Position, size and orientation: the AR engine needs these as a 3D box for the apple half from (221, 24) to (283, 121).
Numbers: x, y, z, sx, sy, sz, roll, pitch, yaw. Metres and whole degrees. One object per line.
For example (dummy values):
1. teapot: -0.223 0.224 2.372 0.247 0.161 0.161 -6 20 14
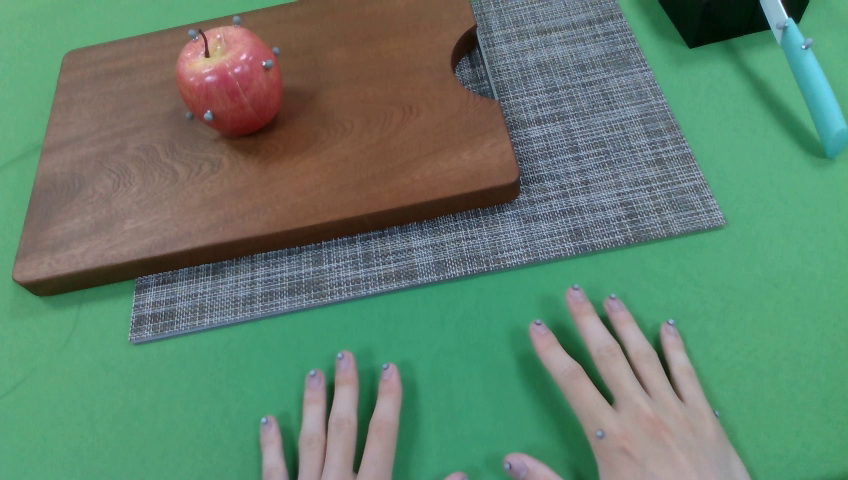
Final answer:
1. apple half: -0.133 -0.139 0.494 0.033 0.082 0.080 -22 59 0

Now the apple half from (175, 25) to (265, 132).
1. apple half: -0.169 -0.125 0.492 0.053 0.075 0.080 -22 62 0

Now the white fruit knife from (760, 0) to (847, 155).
1. white fruit knife: 0.287 -0.164 0.480 0.016 0.027 0.206 -13 73 0
